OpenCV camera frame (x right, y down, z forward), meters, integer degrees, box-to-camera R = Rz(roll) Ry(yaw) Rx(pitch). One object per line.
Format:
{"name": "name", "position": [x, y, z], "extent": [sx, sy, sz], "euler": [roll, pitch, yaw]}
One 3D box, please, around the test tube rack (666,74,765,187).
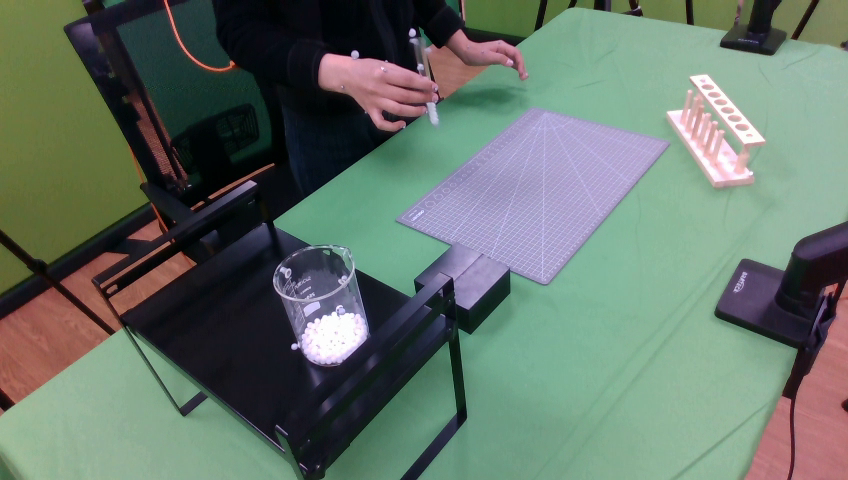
{"name": "test tube rack", "position": [0.512, -0.201, 1.082], "extent": [0.067, 0.085, 0.241], "euler": [-6, 41, 2]}

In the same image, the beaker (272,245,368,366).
{"name": "beaker", "position": [-0.093, 0.064, 0.578], "extent": [0.073, 0.101, 0.084], "euler": [21, 48, 29]}

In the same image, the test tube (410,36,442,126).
{"name": "test tube", "position": [0.004, -0.236, 0.912], "extent": [0.017, 0.151, 0.017], "euler": [-9, 43, 9]}
